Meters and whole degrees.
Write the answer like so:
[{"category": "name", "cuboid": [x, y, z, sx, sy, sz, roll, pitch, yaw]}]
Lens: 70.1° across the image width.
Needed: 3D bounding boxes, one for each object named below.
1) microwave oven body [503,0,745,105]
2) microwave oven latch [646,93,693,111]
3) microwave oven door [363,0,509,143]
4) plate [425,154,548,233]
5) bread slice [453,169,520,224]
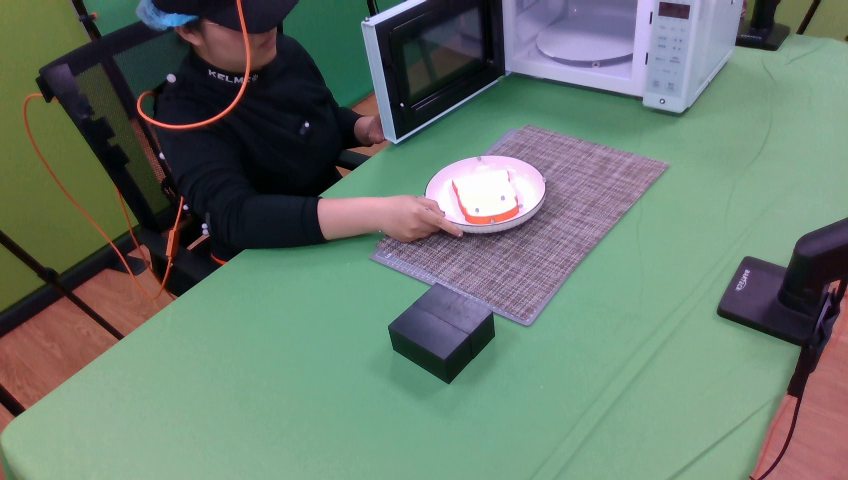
[{"category": "microwave oven body", "cuboid": [0.416, -0.486, 1.290, 0.438, 0.261, 0.327, 21, 50, 33]}, {"category": "microwave oven latch", "cuboid": [0.477, -0.273, 1.177, 0.078, 0.029, 0.030, 22, 50, 33]}, {"category": "microwave oven door", "cuboid": [0.040, -0.386, 1.238, 0.357, 0.245, 0.039, -37, 47, -28]}, {"category": "plate", "cuboid": [0.108, -0.076, 1.038, 0.209, 0.038, 0.208, -5, 40, 5]}, {"category": "bread slice", "cuboid": [0.112, -0.076, 1.040, 0.105, 0.019, 0.130, -11, 40, -1]}]
